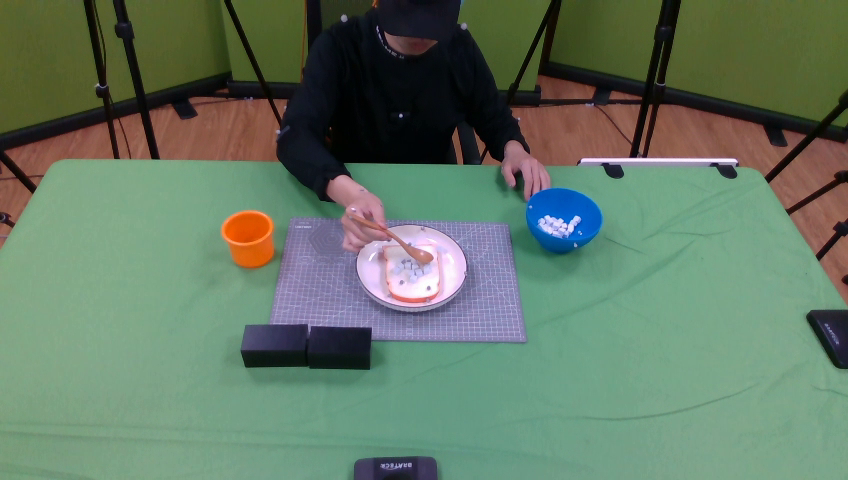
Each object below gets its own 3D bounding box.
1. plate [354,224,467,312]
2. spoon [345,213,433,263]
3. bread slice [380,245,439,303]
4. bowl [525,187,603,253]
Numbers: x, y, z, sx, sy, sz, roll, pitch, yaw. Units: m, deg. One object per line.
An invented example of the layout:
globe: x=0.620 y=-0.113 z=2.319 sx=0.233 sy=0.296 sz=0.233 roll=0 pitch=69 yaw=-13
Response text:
plate: x=-0.025 y=0.055 z=1.128 sx=0.209 sy=0.038 sz=0.208 roll=3 pitch=46 yaw=-2
spoon: x=-0.059 y=-0.005 z=1.072 sx=0.195 sy=0.021 sz=0.041 roll=33 pitch=21 yaw=-33
bread slice: x=-0.022 y=0.061 z=1.126 sx=0.107 sy=0.018 sz=0.133 roll=-3 pitch=45 yaw=-8
bowl: x=0.271 y=-0.028 z=1.206 sx=0.151 sy=0.077 sz=0.150 roll=2 pitch=46 yaw=-2
